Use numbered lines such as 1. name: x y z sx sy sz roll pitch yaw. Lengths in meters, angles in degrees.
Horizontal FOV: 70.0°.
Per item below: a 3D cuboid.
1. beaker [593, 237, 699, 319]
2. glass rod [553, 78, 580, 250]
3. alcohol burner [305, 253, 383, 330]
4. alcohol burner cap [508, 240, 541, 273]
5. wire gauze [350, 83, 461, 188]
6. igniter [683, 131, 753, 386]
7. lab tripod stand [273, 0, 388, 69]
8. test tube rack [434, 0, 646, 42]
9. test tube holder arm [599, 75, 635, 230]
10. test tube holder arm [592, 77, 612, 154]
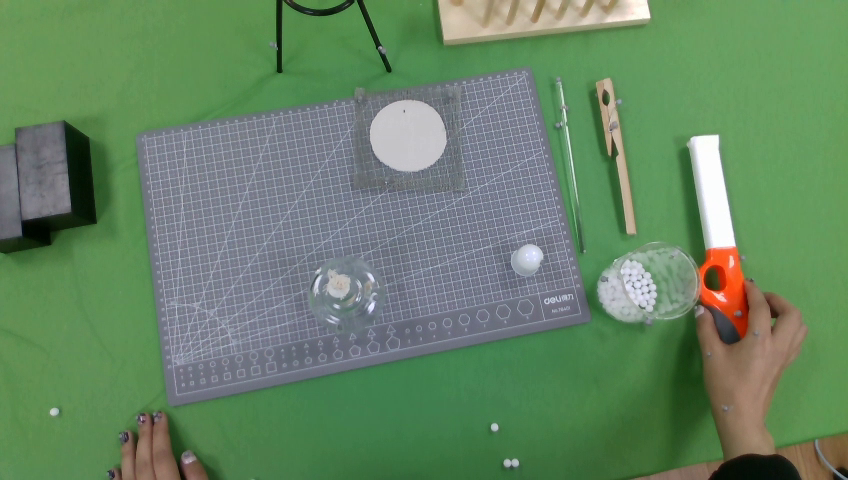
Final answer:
1. beaker: 0.216 0.042 0.614 0.084 0.100 0.074 21 79 4
2. glass rod: 0.160 -0.087 0.680 0.008 0.008 0.199 -5 83 -3
3. alcohol burner: -0.081 0.048 0.593 0.078 0.119 0.077 0 79 0
4. alcohol burner cap: 0.108 0.015 0.641 0.034 0.048 0.033 0 80 -1
5. wire gauze: -0.021 -0.118 0.678 0.125 0.011 0.121 0 81 -3
6. igniter: 0.314 0.016 0.652 0.057 0.025 0.275 -4 78 3
7. lab tripod stand: -0.106 -0.243 0.636 0.148 0.132 0.148 0 82 -2
8. test tube rack: 0.136 -0.284 0.675 0.242 0.085 0.066 -7 80 -3
9. test tube holder arm: 0.215 -0.098 0.678 0.013 0.015 0.177 -14 80 29
10. test tube holder arm: 0.204 -0.141 0.687 0.010 0.015 0.087 -13 80 30
